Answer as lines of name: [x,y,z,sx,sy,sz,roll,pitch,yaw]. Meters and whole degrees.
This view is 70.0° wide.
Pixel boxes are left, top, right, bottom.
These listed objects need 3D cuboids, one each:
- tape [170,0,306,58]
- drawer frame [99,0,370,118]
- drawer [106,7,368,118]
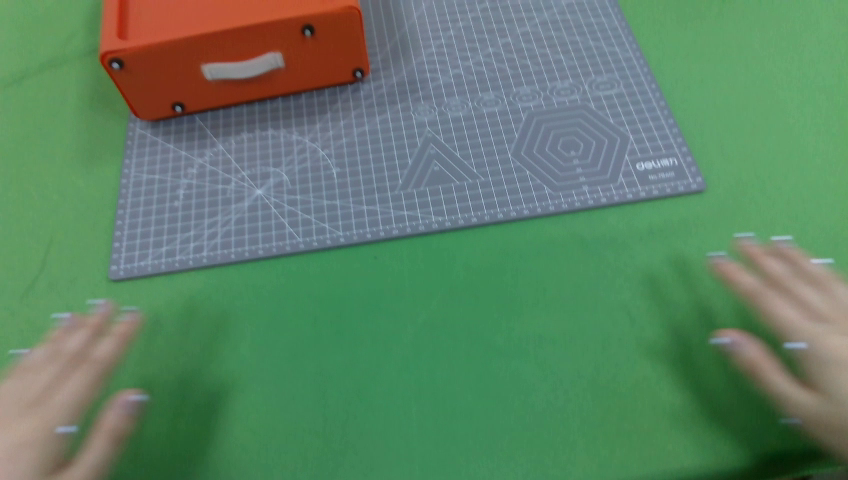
tape: [-0.168,-0.223,0.545,0.117,0.053,0.116,0,60,1]
drawer frame: [-0.167,-0.224,0.538,0.202,0.083,0.211,-13,59,-5]
drawer: [-0.165,-0.221,0.537,0.195,0.074,0.209,-13,59,-5]
